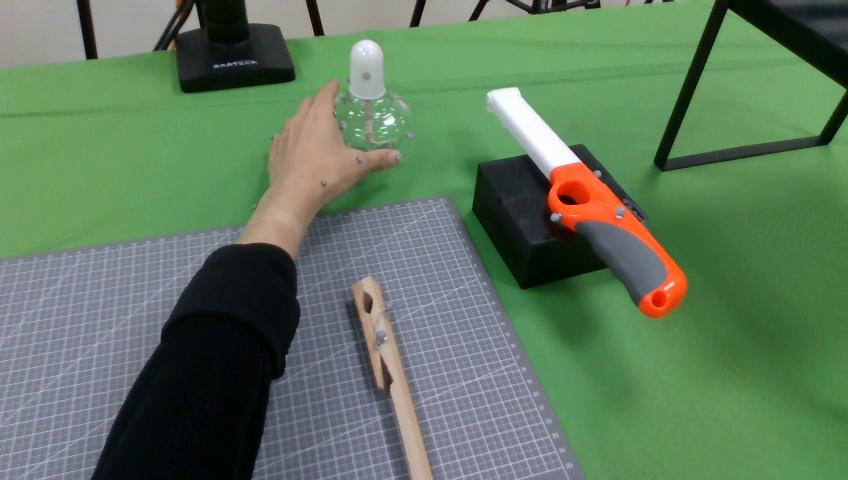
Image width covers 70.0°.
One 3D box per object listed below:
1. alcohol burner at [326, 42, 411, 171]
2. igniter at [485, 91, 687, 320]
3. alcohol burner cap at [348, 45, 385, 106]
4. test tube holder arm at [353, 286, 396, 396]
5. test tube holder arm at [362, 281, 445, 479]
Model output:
[{"bbox_3d":[-0.050,-0.122,0.545,0.078,0.120,0.077,2,46,-1],"label":"alcohol burner"},{"bbox_3d":[0.114,-0.043,0.471,0.057,0.025,0.273,-13,44,-13],"label":"igniter"},{"bbox_3d":[-0.050,-0.144,0.522,0.034,0.048,0.033,2,45,-2],"label":"alcohol burner cap"},{"bbox_3d":[-0.032,0.068,0.417,0.010,0.015,0.087,-35,48,12],"label":"test tube holder arm"},{"bbox_3d":[-0.013,0.095,0.386,0.013,0.015,0.176,-36,48,11],"label":"test tube holder arm"}]
